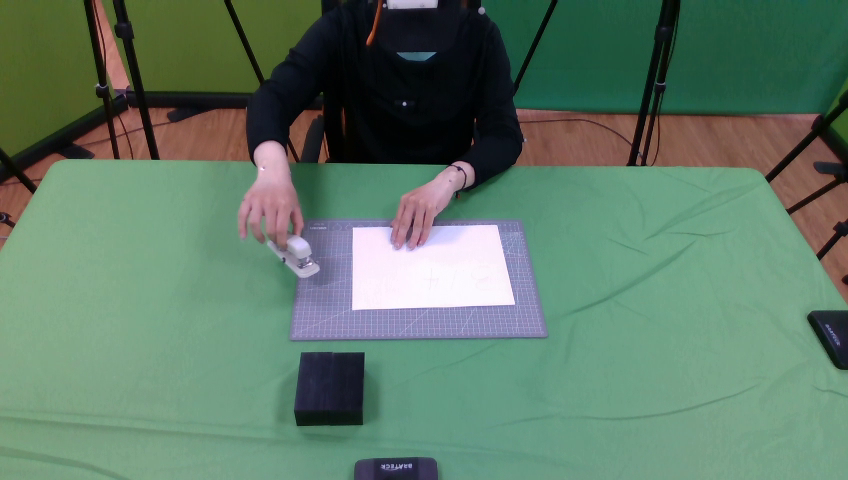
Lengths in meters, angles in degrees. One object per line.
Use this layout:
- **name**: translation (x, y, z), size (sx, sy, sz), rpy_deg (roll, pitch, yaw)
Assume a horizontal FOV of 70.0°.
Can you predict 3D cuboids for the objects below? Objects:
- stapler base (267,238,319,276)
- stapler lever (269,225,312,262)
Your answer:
- **stapler base**: translation (-0.239, 0.021, 1.100), size (0.041, 0.024, 0.130), rpy_deg (-26, 43, -32)
- **stapler lever**: translation (-0.240, 0.000, 1.085), size (0.027, 0.040, 0.117), rpy_deg (-26, 43, -32)
